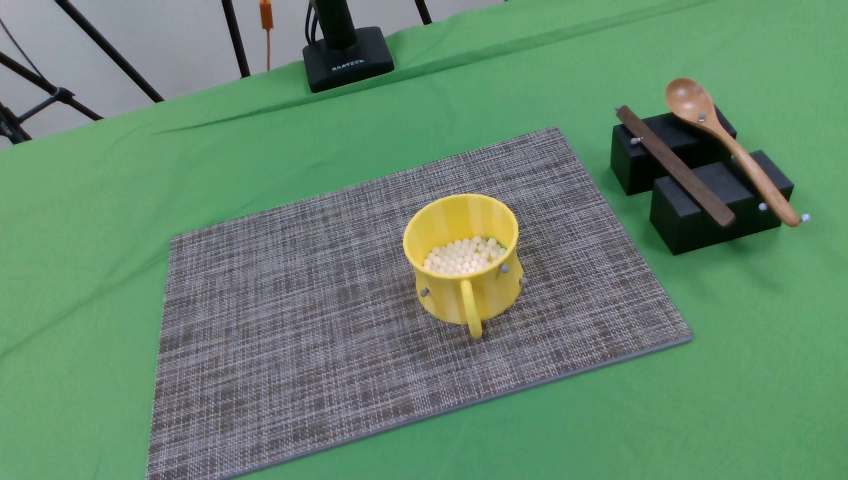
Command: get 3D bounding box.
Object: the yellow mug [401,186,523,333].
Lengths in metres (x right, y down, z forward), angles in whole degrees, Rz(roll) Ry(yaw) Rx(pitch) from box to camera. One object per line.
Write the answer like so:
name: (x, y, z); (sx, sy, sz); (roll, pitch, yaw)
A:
yellow mug: (0.036, 0.021, 0.525); (0.100, 0.064, 0.129); (-11, 48, 5)

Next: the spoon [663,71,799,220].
spoon: (0.268, -0.089, 0.536); (0.041, 0.022, 0.191); (-15, 49, -2)

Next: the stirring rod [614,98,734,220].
stirring rod: (0.218, -0.079, 0.542); (0.014, 0.006, 0.174); (-46, 43, 23)
